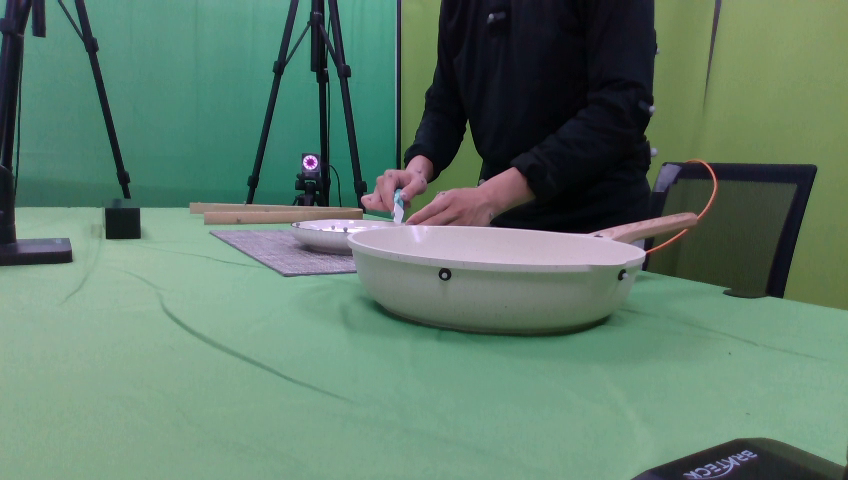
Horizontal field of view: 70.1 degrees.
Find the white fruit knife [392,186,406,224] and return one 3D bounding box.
[{"bbox_3d":[-0.042,-0.058,0.985,0.016,0.027,0.207,-37,14,10],"label":"white fruit knife"}]

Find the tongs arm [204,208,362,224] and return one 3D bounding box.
[{"bbox_3d":[-0.292,-0.054,1.337,0.390,0.028,0.028,-4,7,-40],"label":"tongs arm"}]

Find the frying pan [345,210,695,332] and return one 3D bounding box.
[{"bbox_3d":[0.153,0.009,0.668,0.490,0.102,0.305,-12,15,-32],"label":"frying pan"}]

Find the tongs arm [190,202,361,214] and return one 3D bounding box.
[{"bbox_3d":[-0.333,-0.068,1.403,0.387,0.026,0.050,0,9,-28],"label":"tongs arm"}]

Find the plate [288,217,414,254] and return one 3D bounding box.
[{"bbox_3d":[-0.109,-0.008,0.956,0.208,0.039,0.207,2,7,0],"label":"plate"}]

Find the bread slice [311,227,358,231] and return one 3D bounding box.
[{"bbox_3d":[-0.115,-0.005,0.950,0.134,0.018,0.107,3,6,-7],"label":"bread slice"}]
